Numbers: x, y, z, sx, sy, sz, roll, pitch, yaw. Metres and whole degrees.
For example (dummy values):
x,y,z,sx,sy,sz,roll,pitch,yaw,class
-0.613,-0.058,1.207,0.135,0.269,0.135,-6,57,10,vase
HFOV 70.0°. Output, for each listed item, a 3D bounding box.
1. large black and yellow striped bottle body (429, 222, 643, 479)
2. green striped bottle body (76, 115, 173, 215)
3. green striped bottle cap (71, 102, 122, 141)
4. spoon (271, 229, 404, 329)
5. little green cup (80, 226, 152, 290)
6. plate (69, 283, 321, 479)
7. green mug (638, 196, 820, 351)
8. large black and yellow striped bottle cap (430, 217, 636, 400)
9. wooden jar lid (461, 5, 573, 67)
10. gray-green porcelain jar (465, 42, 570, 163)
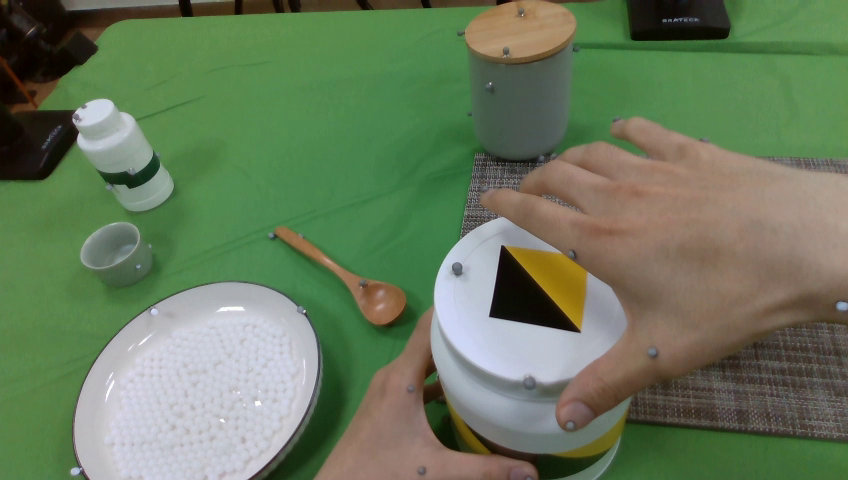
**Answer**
x,y,z,sx,sy,sz,roll,pitch,yaw,class
0.073,0.086,0.409,0.130,0.186,0.129,-5,52,6,large black and yellow striped bottle body
-0.331,-0.088,0.664,0.063,0.120,0.062,-5,50,6,green striped bottle body
-0.338,-0.122,0.625,0.044,0.020,0.044,-3,52,4,green striped bottle cap
-0.091,0.030,0.592,0.192,0.022,0.041,32,78,30,spoon
-0.315,0.020,0.626,0.061,0.039,0.061,-4,49,6,little green cup
-0.187,0.130,0.514,0.209,0.038,0.207,-4,50,5,plate
0.240,0.031,0.479,0.125,0.106,0.092,10,52,17,green mug
0.060,0.034,0.345,0.115,0.019,0.114,-3,52,4,large black and yellow striped bottle cap
0.092,-0.198,0.599,0.108,0.021,0.107,-7,48,8,wooden jar lid
0.099,-0.155,0.645,0.106,0.128,0.105,-4,46,5,gray-green porcelain jar
